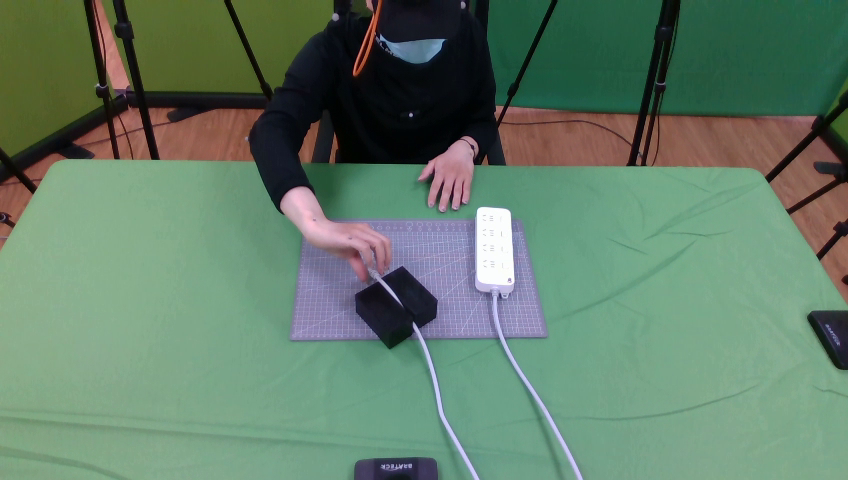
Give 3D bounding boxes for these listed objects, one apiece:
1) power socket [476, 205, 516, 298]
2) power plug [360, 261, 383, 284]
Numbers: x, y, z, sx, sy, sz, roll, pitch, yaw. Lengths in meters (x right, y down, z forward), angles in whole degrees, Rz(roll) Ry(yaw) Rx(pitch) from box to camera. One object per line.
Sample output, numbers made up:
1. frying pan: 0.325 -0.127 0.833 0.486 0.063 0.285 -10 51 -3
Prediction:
1. power socket: 0.139 0.013 1.178 0.072 0.033 0.225 4 47 2
2. power plug: -0.094 0.069 1.093 0.035 0.053 0.072 -9 44 -7
